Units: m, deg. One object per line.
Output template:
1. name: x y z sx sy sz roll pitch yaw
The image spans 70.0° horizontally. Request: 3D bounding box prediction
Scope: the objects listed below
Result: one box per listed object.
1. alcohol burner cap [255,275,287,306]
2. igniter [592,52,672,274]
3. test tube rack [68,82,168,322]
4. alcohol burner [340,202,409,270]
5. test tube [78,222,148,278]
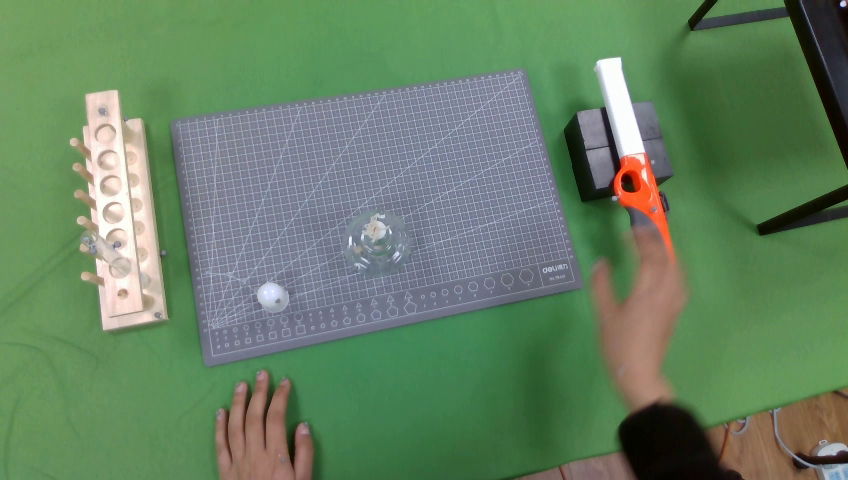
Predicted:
1. alcohol burner cap: -0.172 0.054 0.677 0.034 0.048 0.033 1 76 -6
2. igniter: 0.245 -0.095 0.719 0.057 0.025 0.275 -9 77 -5
3. test tube rack: -0.341 -0.039 0.659 0.067 0.085 0.241 -10 79 -8
4. alcohol burner: -0.054 -0.008 0.667 0.078 0.119 0.077 1 79 -5
5. test tube: -0.304 0.013 0.601 0.017 0.151 0.017 2 72 -6
